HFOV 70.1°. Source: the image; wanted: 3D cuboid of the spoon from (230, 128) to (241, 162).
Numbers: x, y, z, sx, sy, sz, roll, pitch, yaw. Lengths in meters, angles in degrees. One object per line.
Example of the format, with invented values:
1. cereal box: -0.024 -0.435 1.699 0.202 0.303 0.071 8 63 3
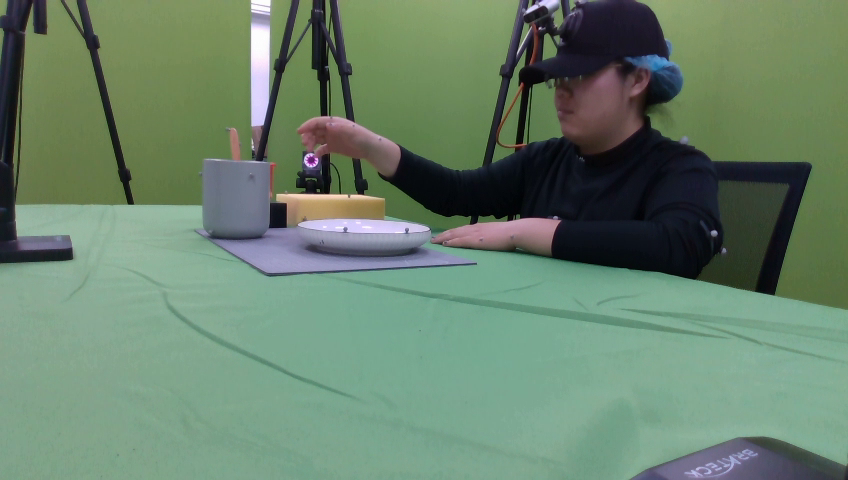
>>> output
1. spoon: -0.314 -0.108 1.025 0.042 0.193 0.021 -5 -19 -16

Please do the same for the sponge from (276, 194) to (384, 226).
1. sponge: -0.203 -0.067 1.312 0.208 0.061 0.117 -3 9 -35

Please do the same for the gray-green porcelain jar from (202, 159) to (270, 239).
1. gray-green porcelain jar: -0.310 -0.068 0.999 0.106 0.126 0.106 3 8 0

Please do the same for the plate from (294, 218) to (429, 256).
1. plate: -0.096 -0.005 0.936 0.208 0.039 0.207 3 7 0
